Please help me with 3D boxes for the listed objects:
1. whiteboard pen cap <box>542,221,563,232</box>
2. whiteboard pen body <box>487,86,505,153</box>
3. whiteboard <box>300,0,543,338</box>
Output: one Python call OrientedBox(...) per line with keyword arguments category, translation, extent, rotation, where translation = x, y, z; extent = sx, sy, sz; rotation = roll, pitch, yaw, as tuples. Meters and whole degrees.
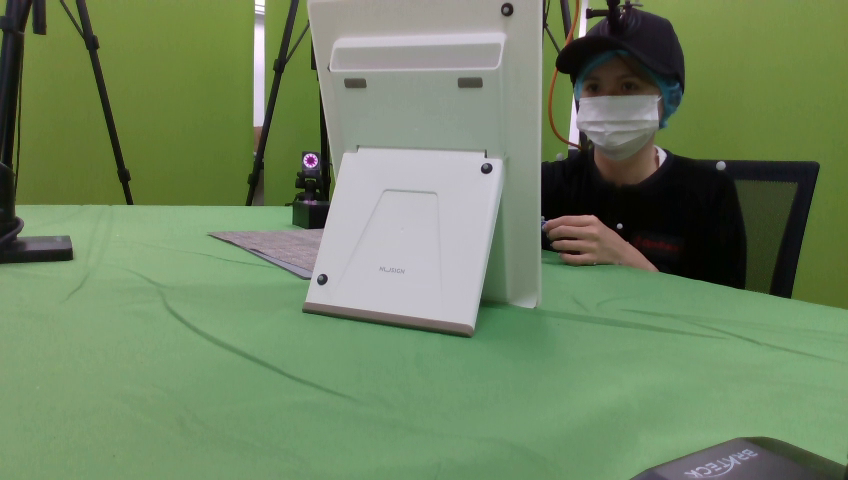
OrientedBox(category="whiteboard pen cap", translation=(0.195, -0.022, 0.926), extent=(0.033, 0.018, 0.018), rotation=(2, 6, 38))
OrientedBox(category="whiteboard pen body", translation=(0.072, -0.122, 0.606), extent=(0.017, 0.017, 0.140), rotation=(3, 37, 2))
OrientedBox(category="whiteboard", translation=(-0.020, -0.050, 0.523), extent=(0.216, 0.305, 0.144), rotation=(6, 28, 22))
